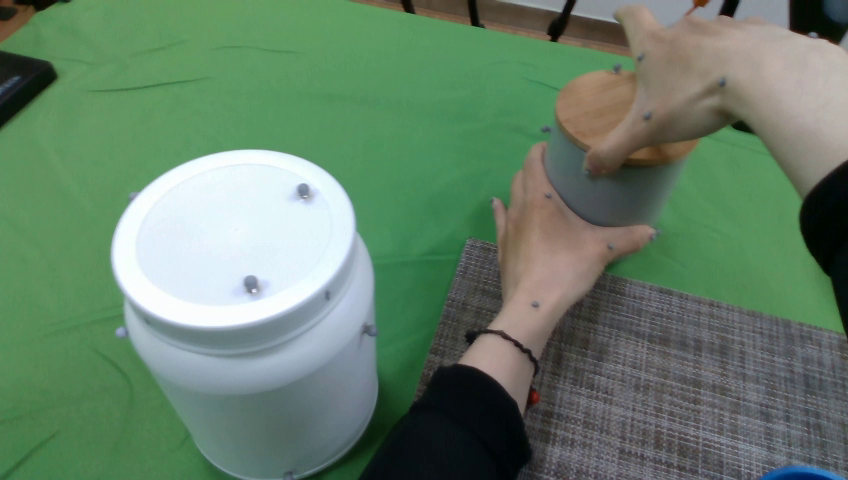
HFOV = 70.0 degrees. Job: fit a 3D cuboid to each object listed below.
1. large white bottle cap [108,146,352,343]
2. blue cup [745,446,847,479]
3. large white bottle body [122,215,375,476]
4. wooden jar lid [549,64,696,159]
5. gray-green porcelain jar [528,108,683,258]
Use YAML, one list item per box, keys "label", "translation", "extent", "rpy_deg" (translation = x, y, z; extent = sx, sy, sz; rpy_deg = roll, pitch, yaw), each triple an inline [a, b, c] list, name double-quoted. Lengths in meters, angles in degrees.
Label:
- label: "large white bottle cap"
  translation: [-0.094, -0.003, 0.300]
  extent: [0.115, 0.018, 0.113]
  rpy_deg: [2, 51, -2]
- label: "blue cup"
  translation: [0.193, 0.179, 0.330]
  extent: [0.093, 0.101, 0.091]
  rpy_deg: [1, 49, -1]
- label: "large white bottle body"
  translation: [-0.097, 0.051, 0.366]
  extent: [0.131, 0.186, 0.129]
  rpy_deg: [2, 51, -2]
- label: "wooden jar lid"
  translation: [0.146, -0.094, 0.455]
  extent: [0.108, 0.021, 0.107]
  rpy_deg: [3, 49, -4]
- label: "gray-green porcelain jar"
  translation: [0.145, -0.055, 0.504]
  extent: [0.106, 0.127, 0.105]
  rpy_deg: [1, 51, -1]
